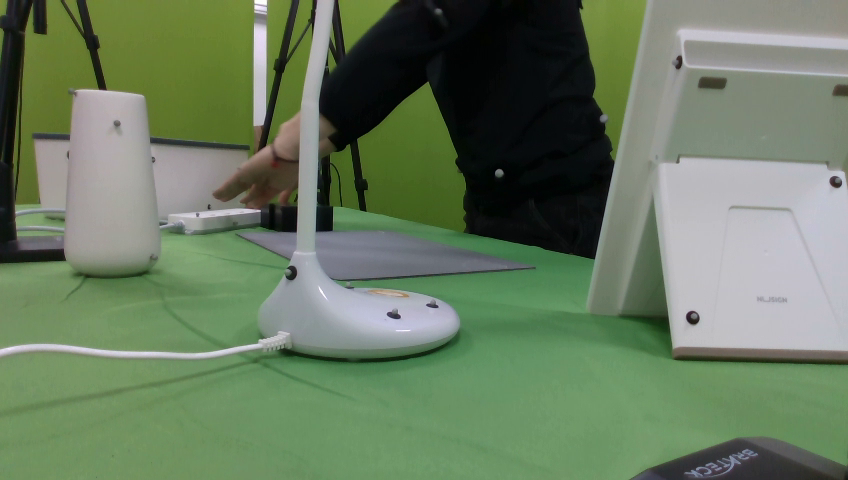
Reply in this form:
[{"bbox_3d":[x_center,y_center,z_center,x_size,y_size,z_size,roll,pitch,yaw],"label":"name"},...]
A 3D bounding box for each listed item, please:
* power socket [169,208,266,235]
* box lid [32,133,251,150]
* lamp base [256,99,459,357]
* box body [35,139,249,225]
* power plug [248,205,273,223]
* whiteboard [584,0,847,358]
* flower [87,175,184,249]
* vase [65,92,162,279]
[{"bbox_3d":[-0.379,-0.038,1.130,0.072,0.032,0.227,4,8,19],"label":"power socket"},{"bbox_3d":[-0.558,-0.200,1.250,0.263,0.015,0.372,5,8,13],"label":"box lid"},{"bbox_3d":[-0.055,-0.013,0.463,0.160,0.180,0.180,6,11,27],"label":"lamp base"},{"bbox_3d":[-0.561,-0.127,1.258,0.254,0.160,0.365,4,8,13],"label":"box body"},{"bbox_3d":[-0.361,-0.046,1.293,0.052,0.072,0.035,40,-20,23],"label":"power plug"},{"bbox_3d":[0.269,-0.034,0.466,0.217,0.305,0.143,2,27,-1],"label":"whiteboard"},{"bbox_3d":[-0.610,-0.063,1.291,0.044,0.038,0.361,-5,25,9],"label":"flower"},{"bbox_3d":[-0.347,-0.060,0.673,0.098,0.200,0.098,1,7,0],"label":"vase"}]
